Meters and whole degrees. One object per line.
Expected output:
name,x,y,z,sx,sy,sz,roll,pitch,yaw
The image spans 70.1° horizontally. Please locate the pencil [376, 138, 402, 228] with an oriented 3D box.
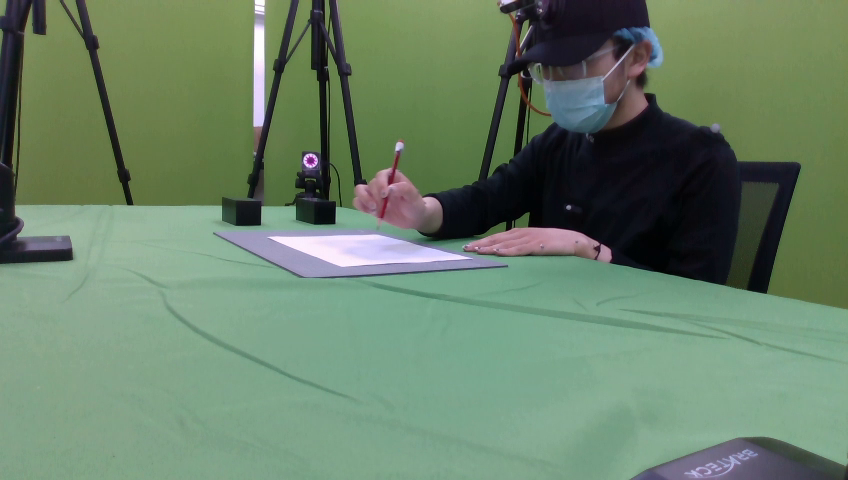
pencil,-0.054,-0.090,0.924,0.012,0.012,0.194,4,50,9
